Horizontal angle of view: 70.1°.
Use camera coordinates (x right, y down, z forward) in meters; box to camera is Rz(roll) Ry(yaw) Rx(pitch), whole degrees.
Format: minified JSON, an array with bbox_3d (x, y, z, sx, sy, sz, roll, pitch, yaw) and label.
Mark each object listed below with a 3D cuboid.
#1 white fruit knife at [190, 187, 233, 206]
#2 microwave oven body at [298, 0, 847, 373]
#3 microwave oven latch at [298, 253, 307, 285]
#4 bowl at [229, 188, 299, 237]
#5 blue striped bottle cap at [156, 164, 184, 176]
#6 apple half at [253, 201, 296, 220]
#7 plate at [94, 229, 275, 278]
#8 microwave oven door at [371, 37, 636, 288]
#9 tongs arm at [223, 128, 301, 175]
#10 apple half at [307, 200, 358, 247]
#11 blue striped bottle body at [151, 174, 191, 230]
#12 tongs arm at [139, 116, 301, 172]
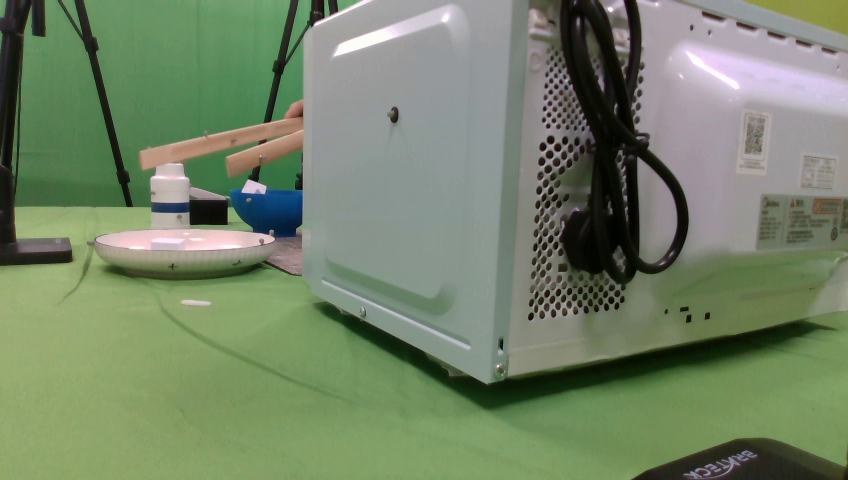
[{"bbox_3d":[-0.413,-0.081,1.270,0.208,0.027,0.016,17,14,-41],"label":"white fruit knife"},{"bbox_3d":[0.151,-0.055,0.542,0.444,0.260,0.324,-2,7,-33],"label":"microwave oven body"},{"bbox_3d":[-0.082,0.027,0.582,0.079,0.029,0.030,-2,8,-33],"label":"microwave oven latch"},{"bbox_3d":[-0.265,-0.048,1.066,0.151,0.077,0.151,3,8,0],"label":"bowl"},{"bbox_3d":[-0.438,-0.122,1.045,0.044,0.020,0.044,5,6,0],"label":"blue striped bottle cap"},{"bbox_3d":[-0.264,-0.053,1.066,0.081,0.033,0.081,2,7,0],"label":"apple half"},{"bbox_3d":[-0.291,0.016,0.750,0.208,0.039,0.207,2,7,0],"label":"plate"},{"bbox_3d":[0.109,-0.080,0.686,0.358,0.243,0.039,-2,9,-33],"label":"microwave oven door"},{"bbox_3d":[-0.195,-0.153,0.904,0.028,0.028,0.388,-3,18,16],"label":"tongs arm"},{"bbox_3d":[-0.135,-0.024,0.941,0.053,0.074,0.081,12,8,39],"label":"apple half"},{"bbox_3d":[-0.439,-0.071,1.052,0.063,0.120,0.063,2,7,0],"label":"blue striped bottle body"},{"bbox_3d":[-0.263,-0.158,0.929,0.050,0.026,0.386,4,20,24],"label":"tongs arm"}]
